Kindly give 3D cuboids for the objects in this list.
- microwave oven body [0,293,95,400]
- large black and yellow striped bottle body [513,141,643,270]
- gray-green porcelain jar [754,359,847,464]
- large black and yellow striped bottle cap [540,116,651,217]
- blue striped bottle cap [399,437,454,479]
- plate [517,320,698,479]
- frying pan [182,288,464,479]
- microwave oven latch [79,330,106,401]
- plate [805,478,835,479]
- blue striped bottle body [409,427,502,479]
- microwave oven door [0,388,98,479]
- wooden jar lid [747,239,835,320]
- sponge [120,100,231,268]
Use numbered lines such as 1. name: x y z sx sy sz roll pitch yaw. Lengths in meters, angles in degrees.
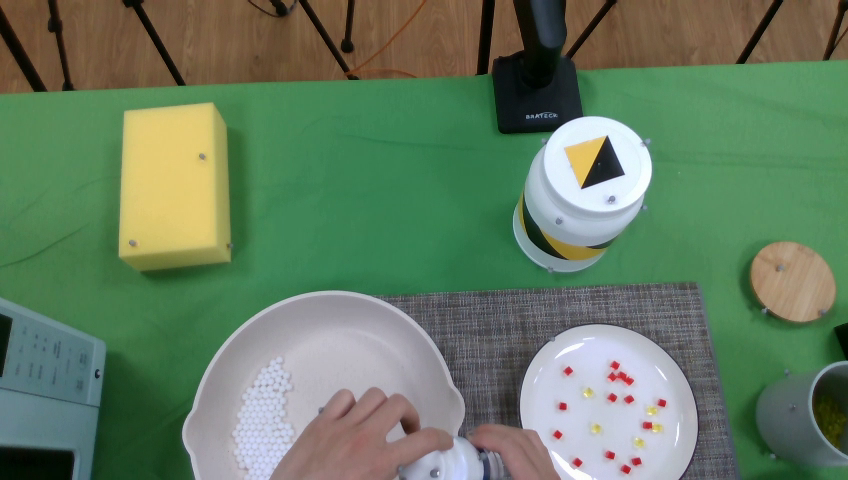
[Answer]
1. microwave oven body: -0.533 0.284 0.552 0.326 0.261 0.438 -2 71 -2
2. large black and yellow striped bottle body: 0.182 -0.050 0.726 0.131 0.185 0.130 0 70 0
3. gray-green porcelain jar: 0.442 0.194 0.673 0.106 0.127 0.105 0 70 -1
4. large black and yellow striped bottle cap: 0.182 -0.080 0.645 0.115 0.019 0.114 0 69 0
5. blue striped bottle cap: 0.002 0.188 0.504 0.044 0.021 0.044 -9 65 20
6. plate: 0.211 0.199 0.711 0.209 0.038 0.207 0 71 0
7. frying pan: -0.102 0.294 0.639 0.307 0.103 0.483 -4 62 0
8. microwave oven latch: -0.391 0.146 0.705 0.030 0.029 0.078 -2 71 -2
9. plate: 0.443 0.369 0.659 0.208 0.039 0.206 0 70 0
10. blue striped bottle body: 0.023 0.204 0.547 0.063 0.122 0.062 -9 66 23
11. microwave oven door: -0.386 0.317 0.537 0.039 0.245 0.353 -2 70 -2
12. wooden jar lid: 0.470 0.051 0.781 0.108 0.021 0.107 0 72 0
13. sponge: -0.322 -0.073 0.791 0.118 0.061 0.205 -8 71 -3
